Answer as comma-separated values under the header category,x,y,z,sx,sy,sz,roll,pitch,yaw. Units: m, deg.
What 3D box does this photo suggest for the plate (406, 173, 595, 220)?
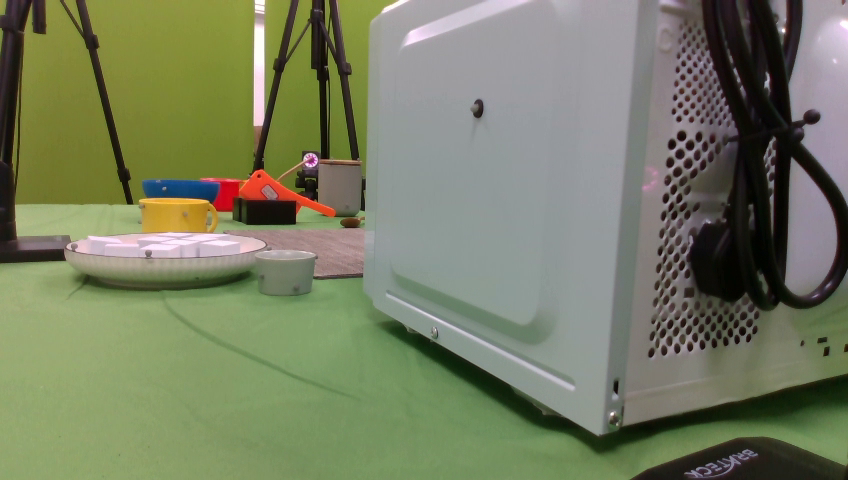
category,x,y,z,sx,sy,sz,roll,pitch,yaw
plate,0.083,-0.049,0.676,0.209,0.038,0.209,4,8,0

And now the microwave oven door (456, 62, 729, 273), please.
category,x,y,z,sx,sy,sz,roll,pitch,yaw
microwave oven door,0.199,-0.099,0.799,0.354,0.243,0.039,7,10,37

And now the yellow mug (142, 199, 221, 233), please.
category,x,y,z,sx,sy,sz,roll,pitch,yaw
yellow mug,-0.372,-0.030,0.947,0.099,0.064,0.131,5,8,30

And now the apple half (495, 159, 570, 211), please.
category,x,y,z,sx,sy,sz,roll,pitch,yaw
apple half,0.122,-0.062,0.667,0.075,0.053,0.080,5,7,-9

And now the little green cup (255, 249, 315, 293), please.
category,x,y,z,sx,sy,sz,roll,pitch,yaw
little green cup,-0.144,0.032,0.627,0.061,0.038,0.061,2,6,0

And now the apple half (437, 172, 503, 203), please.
category,x,y,z,sx,sy,sz,roll,pitch,yaw
apple half,0.055,-0.063,0.711,0.081,0.033,0.081,4,11,0

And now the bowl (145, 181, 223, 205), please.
category,x,y,z,sx,sy,sz,roll,pitch,yaw
bowl,-0.499,-0.081,1.261,0.151,0.077,0.151,2,8,0

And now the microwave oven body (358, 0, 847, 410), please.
category,x,y,z,sx,sy,sz,roll,pitch,yaw
microwave oven body,0.210,-0.051,0.471,0.444,0.260,0.324,-1,7,-28

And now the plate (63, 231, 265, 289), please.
category,x,y,z,sx,sy,sz,roll,pitch,yaw
plate,-0.288,0.021,0.687,0.208,0.039,0.207,2,8,0

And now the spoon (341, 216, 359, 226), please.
category,x,y,z,sx,sy,sz,roll,pitch,yaw
spoon,-0.132,-0.048,1.305,0.041,0.021,0.194,-14,4,14

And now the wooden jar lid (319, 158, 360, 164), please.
category,x,y,z,sx,sy,sz,roll,pitch,yaw
wooden jar lid,-0.203,-0.189,1.482,0.108,0.020,0.108,2,10,0

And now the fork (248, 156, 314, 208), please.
category,x,y,z,sx,sy,sz,roll,pitch,yaw
fork,-0.360,-0.147,1.523,0.207,0.019,0.028,-43,17,-6

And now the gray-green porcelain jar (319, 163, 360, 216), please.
category,x,y,z,sx,sy,sz,roll,pitch,yaw
gray-green porcelain jar,-0.204,-0.126,1.490,0.106,0.126,0.106,2,8,0

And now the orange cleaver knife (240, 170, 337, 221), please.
category,x,y,z,sx,sy,sz,roll,pitch,yaw
orange cleaver knife,-0.287,-0.081,1.299,0.212,0.077,0.012,25,-2,-31

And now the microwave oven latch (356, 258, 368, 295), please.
category,x,y,z,sx,sy,sz,roll,pitch,yaw
microwave oven latch,-0.019,0.031,0.529,0.079,0.029,0.030,-1,7,-26
